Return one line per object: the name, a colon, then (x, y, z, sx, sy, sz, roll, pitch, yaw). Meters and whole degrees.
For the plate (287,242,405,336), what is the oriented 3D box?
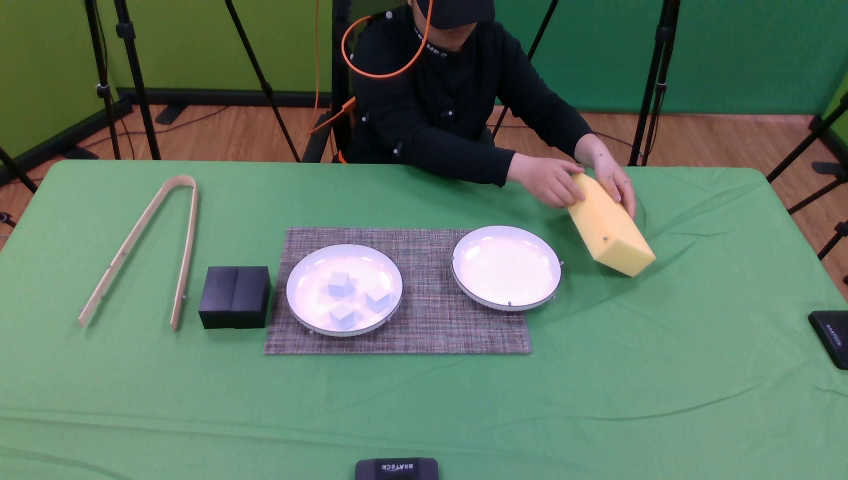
plate: (-0.138, 0.090, 1.084, 0.208, 0.039, 0.206, 2, 46, -2)

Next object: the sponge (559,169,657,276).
sponge: (0.357, -0.037, 1.190, 0.119, 0.061, 0.205, 22, 34, -30)

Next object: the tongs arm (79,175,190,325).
tongs arm: (-0.534, 0.005, 1.145, 0.051, 0.026, 0.382, 6, 45, 0)

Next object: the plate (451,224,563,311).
plate: (0.154, 0.053, 1.140, 0.209, 0.038, 0.208, 2, 46, -2)

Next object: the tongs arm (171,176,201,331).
tongs arm: (-0.453, 0.010, 1.151, 0.028, 0.028, 0.385, -6, 47, -6)
